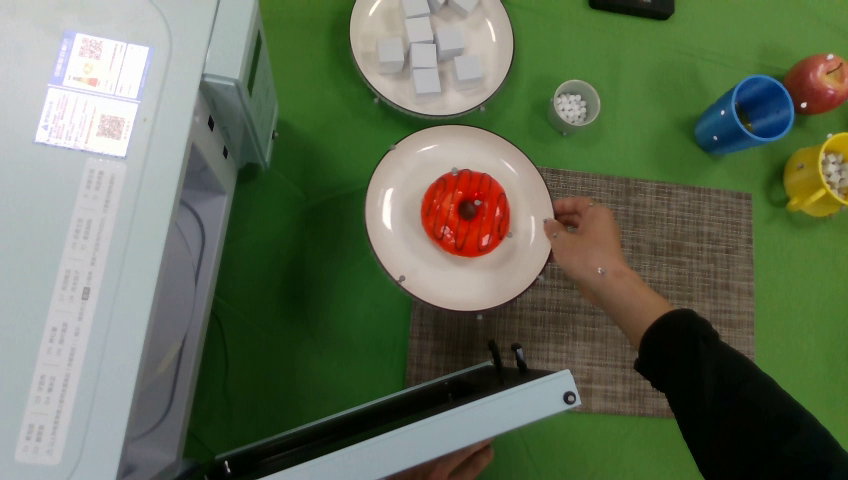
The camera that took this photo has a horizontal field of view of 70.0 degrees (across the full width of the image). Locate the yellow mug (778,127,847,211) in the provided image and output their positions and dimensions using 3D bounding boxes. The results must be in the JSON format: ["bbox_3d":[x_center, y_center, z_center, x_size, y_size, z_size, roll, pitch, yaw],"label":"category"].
[{"bbox_3d":[0.531,-0.084,0.809,0.131,0.064,0.100,-36,89,-12],"label":"yellow mug"}]

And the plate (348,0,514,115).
[{"bbox_3d":[0.008,-0.253,0.762,0.208,0.039,0.207,2,81,-9],"label":"plate"}]

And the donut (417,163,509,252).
[{"bbox_3d":[0.042,-0.034,0.642,0.099,0.048,0.098,2,79,-7],"label":"donut"}]

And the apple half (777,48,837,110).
[{"bbox_3d":[0.514,-0.220,0.825,0.053,0.075,0.080,11,82,-4],"label":"apple half"}]

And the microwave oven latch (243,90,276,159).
[{"bbox_3d":[-0.188,-0.135,0.690,0.030,0.029,0.079,11,80,-8],"label":"microwave oven latch"}]

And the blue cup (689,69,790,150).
[{"bbox_3d":[0.397,-0.159,0.780,0.093,0.100,0.092,1,82,-10],"label":"blue cup"}]

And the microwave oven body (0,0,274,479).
[{"bbox_3d":[-0.341,-0.001,0.545,0.327,0.260,0.440,9,80,-8],"label":"microwave oven body"}]

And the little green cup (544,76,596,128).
[{"bbox_3d":[0.185,-0.175,0.779,0.062,0.038,0.061,2,80,-9],"label":"little green cup"}]

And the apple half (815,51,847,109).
[{"bbox_3d":[0.552,-0.213,0.828,0.033,0.081,0.081,12,79,-5],"label":"apple half"}]

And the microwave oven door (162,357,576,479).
[{"bbox_3d":[-0.066,0.181,0.558,0.356,0.244,0.039,-16,83,-12],"label":"microwave oven door"}]

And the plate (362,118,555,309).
[{"bbox_3d":[0.036,-0.028,0.651,0.210,0.038,0.208,2,77,-10],"label":"plate"}]
